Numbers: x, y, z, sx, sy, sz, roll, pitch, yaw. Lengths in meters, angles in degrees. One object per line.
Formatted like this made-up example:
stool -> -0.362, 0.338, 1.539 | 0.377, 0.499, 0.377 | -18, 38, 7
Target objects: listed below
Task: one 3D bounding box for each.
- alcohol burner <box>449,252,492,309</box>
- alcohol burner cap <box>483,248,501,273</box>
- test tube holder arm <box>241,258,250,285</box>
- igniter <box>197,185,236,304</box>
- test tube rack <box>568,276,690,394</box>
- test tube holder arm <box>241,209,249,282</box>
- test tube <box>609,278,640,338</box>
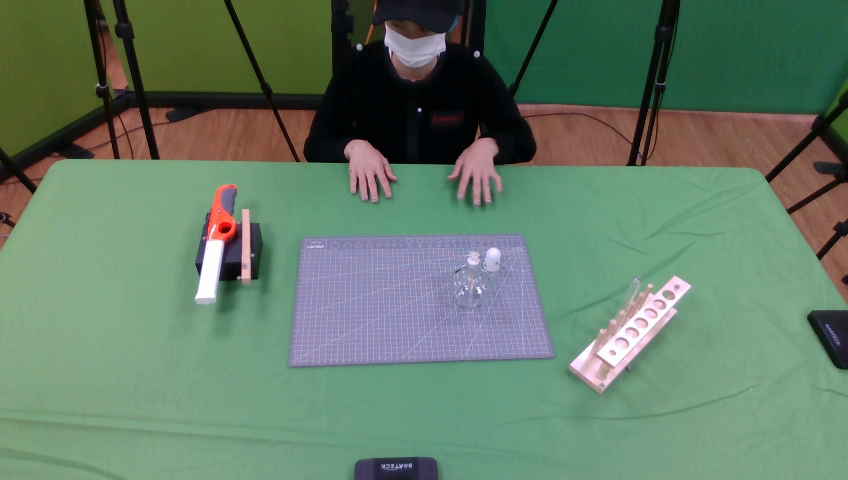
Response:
alcohol burner -> 0.084, 0.066, 1.074 | 0.078, 0.120, 0.077 | 1, 44, -1
alcohol burner cap -> 0.130, 0.037, 1.156 | 0.034, 0.048, 0.033 | 1, 46, -1
test tube holder arm -> -0.316, 0.043, 1.071 | 0.015, 0.010, 0.087 | -2, 48, -14
igniter -> -0.376, -0.002, 1.101 | 0.057, 0.025, 0.274 | -1, 49, -7
test tube rack -> 0.353, 0.149, 1.039 | 0.242, 0.085, 0.066 | -34, 56, -31
test tube holder arm -> -0.324, 0.006, 1.096 | 0.015, 0.013, 0.177 | -2, 48, -14
test tube -> 0.331, 0.115, 1.007 | 0.017, 0.151, 0.017 | 2, 45, -2
